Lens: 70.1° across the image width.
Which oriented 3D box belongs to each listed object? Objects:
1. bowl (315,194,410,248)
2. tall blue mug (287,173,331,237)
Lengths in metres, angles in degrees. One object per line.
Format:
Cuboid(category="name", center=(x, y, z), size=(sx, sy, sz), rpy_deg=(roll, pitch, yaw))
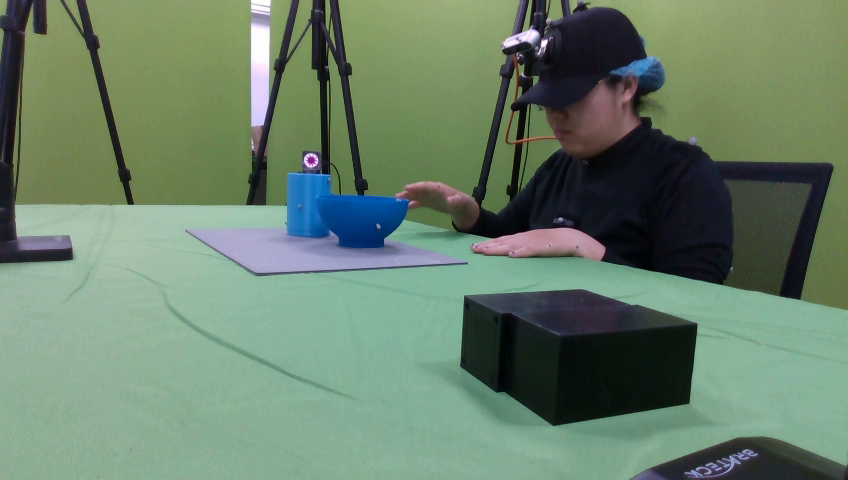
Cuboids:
Cuboid(category="bowl", center=(-0.100, -0.030, 0.971), size=(0.151, 0.077, 0.151), rpy_deg=(2, 7, 0))
Cuboid(category="tall blue mug", center=(-0.207, -0.066, 1.088), size=(0.078, 0.108, 0.107), rpy_deg=(0, 8, -12))
